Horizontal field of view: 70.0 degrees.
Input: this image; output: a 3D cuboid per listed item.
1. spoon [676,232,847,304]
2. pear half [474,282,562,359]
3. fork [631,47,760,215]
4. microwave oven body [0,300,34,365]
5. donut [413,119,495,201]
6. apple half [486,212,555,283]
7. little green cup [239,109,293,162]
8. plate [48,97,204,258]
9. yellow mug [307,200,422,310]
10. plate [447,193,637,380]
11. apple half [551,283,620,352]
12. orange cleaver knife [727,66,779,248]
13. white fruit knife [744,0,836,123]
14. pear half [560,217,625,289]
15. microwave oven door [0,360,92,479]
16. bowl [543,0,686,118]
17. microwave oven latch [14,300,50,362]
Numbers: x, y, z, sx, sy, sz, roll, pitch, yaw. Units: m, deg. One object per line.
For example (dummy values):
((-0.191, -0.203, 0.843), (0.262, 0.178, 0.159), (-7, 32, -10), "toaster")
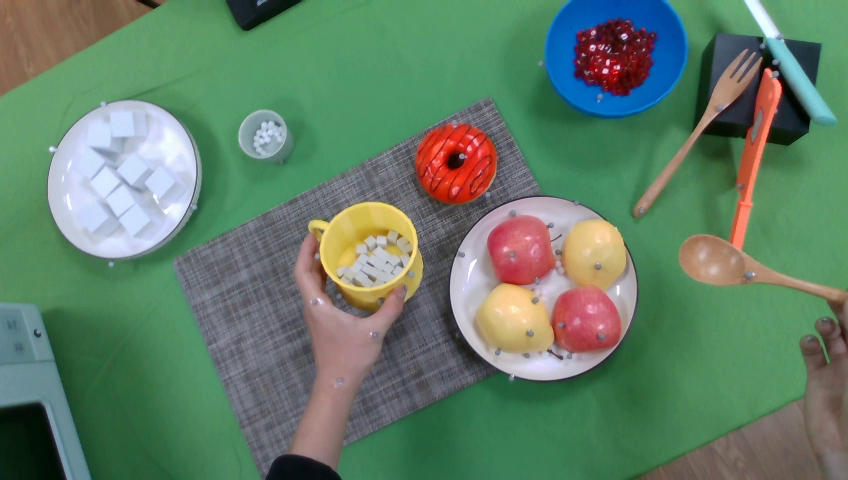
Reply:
((0.302, 0.036, 0.484), (0.192, 0.022, 0.041), (18, 81, 21), "spoon")
((0.110, 0.096, 0.669), (0.109, 0.056, 0.076), (36, 94, 6), "pear half")
((0.290, -0.113, 0.661), (0.028, 0.018, 0.208), (31, 109, 2), "fork")
((-0.574, 0.322, 0.640), (0.326, 0.261, 0.440), (-24, 81, 4), "microwave oven body")
((0.035, -0.093, 0.713), (0.099, 0.048, 0.099), (-1, 84, 11), "donut")
((0.107, 0.009, 0.676), (0.074, 0.053, 0.080), (-9, 86, 8), "apple half")
((-0.195, -0.128, 0.757), (0.061, 0.039, 0.061), (-1, 83, 9), "little green cup")
((-0.376, -0.079, 0.778), (0.207, 0.039, 0.207), (-1, 83, 8), "plate")
((-0.068, 0.010, 0.638), (0.130, 0.064, 0.099), (23, 69, 16), "yellow mug")
((0.131, 0.052, 0.685), (0.209, 0.038, 0.208), (-1, 83, 8), "plate")
((0.169, 0.086, 0.658), (0.081, 0.033, 0.081), (0, 91, 31), "apple half")
((0.347, -0.077, 0.651), (0.012, 0.077, 0.212), (9, 110, 14), "orange cleaver knife")
((0.376, -0.213, 0.647), (0.027, 0.016, 0.206), (-20, 77, -24), "white fruit knife")
((0.182, 0.019, 0.667), (0.070, 0.031, 0.088), (3, 94, 32), "pear half")
((-0.426, 0.300, 0.616), (0.039, 0.245, 0.354), (-24, 80, 4), "microwave oven door")
((0.209, -0.203, 0.689), (0.151, 0.077, 0.151), (-1, 84, 8), "bowl")
((-0.494, 0.114, 0.752), (0.030, 0.029, 0.079), (-22, 81, 4), "microwave oven latch")
